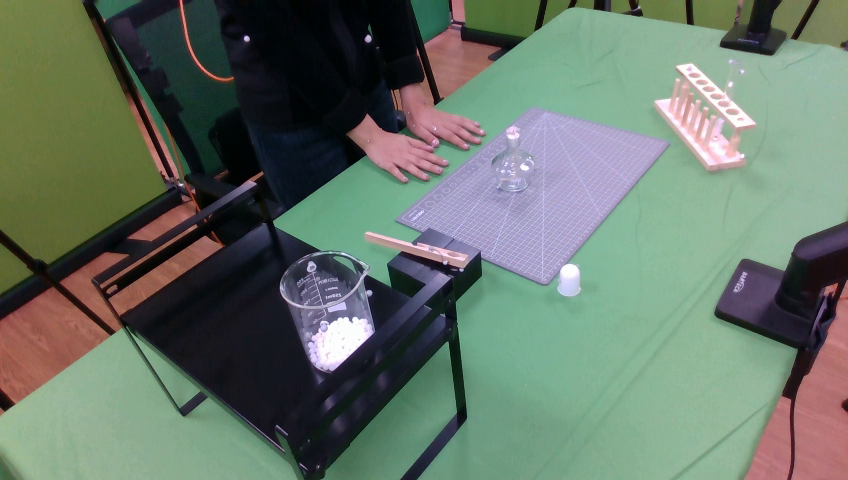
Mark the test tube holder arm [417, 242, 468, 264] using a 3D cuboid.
[{"bbox_3d":[0.024,0.020,0.874,0.087,0.015,0.010,14,28,29],"label":"test tube holder arm"}]

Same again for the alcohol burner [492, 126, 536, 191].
[{"bbox_3d":[0.155,-0.146,1.046,0.078,0.119,0.077,-4,43,4],"label":"alcohol burner"}]

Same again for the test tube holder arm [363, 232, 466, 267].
[{"bbox_3d":[-0.018,0.012,0.891,0.177,0.015,0.013,13,27,28],"label":"test tube holder arm"}]

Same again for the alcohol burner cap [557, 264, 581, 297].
[{"bbox_3d":[0.208,0.055,0.866,0.034,0.048,0.033,-4,41,4],"label":"alcohol burner cap"}]

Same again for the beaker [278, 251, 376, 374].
[{"bbox_3d":[-0.084,0.070,0.570,0.084,0.101,0.073,-18,42,-13],"label":"beaker"}]

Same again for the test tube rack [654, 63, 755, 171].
[{"bbox_3d":[0.510,-0.233,1.120,0.067,0.085,0.241,-8,41,-1],"label":"test tube rack"}]

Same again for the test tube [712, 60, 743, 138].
[{"bbox_3d":[0.527,-0.242,1.052,0.017,0.151,0.017,-3,44,3],"label":"test tube"}]
